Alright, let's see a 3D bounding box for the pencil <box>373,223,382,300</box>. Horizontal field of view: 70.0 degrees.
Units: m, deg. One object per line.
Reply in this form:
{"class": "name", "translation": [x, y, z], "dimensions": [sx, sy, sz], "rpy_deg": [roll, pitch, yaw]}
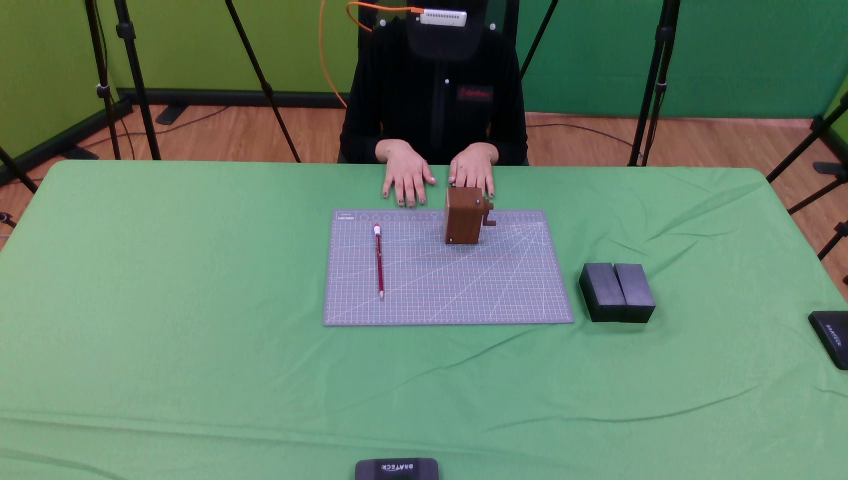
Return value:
{"class": "pencil", "translation": [-0.088, 0.038, 1.160], "dimensions": [0.012, 0.012, 0.192], "rpy_deg": [-2, 47, -6]}

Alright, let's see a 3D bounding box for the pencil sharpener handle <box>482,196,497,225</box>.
{"class": "pencil sharpener handle", "translation": [0.130, -0.056, 1.182], "dimensions": [0.031, 0.068, 0.036], "rpy_deg": [2, 43, -3]}

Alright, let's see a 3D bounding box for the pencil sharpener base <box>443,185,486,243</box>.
{"class": "pencil sharpener base", "translation": [0.078, -0.049, 1.188], "dimensions": [0.077, 0.107, 0.061], "rpy_deg": [2, 46, -3]}
